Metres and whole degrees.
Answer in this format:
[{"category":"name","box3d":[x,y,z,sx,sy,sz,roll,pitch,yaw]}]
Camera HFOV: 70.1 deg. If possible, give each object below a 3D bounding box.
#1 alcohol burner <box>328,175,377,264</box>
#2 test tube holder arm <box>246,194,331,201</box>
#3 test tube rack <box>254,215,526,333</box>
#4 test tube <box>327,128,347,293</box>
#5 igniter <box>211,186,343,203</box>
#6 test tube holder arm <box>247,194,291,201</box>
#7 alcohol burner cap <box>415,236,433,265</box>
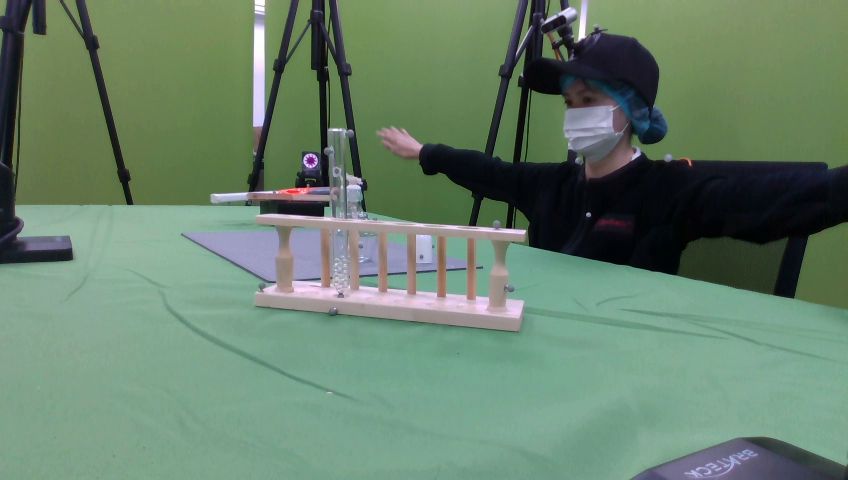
[{"category":"alcohol burner","box3d":[-0.098,-0.028,0.819,0.078,0.119,0.078,1,8,0]},{"category":"test tube holder arm","box3d":[-0.274,-0.087,1.236,0.179,0.015,0.013,-3,2,-35]},{"category":"test tube rack","box3d":[-0.030,0.025,0.557,0.242,0.085,0.067,4,7,12]},{"category":"test tube","box3d":[-0.079,-0.025,0.545,0.017,0.150,0.017,0,9,0]},{"category":"igniter","box3d":[-0.300,-0.095,1.266,0.278,0.025,0.057,-6,12,-34]},{"category":"test tube holder arm","box3d":[-0.308,-0.085,1.206,0.088,0.015,0.010,-3,2,-34]},{"category":"alcohol burner cap","box3d":[-0.004,0.011,0.835,0.034,0.048,0.034,2,7,0]}]
